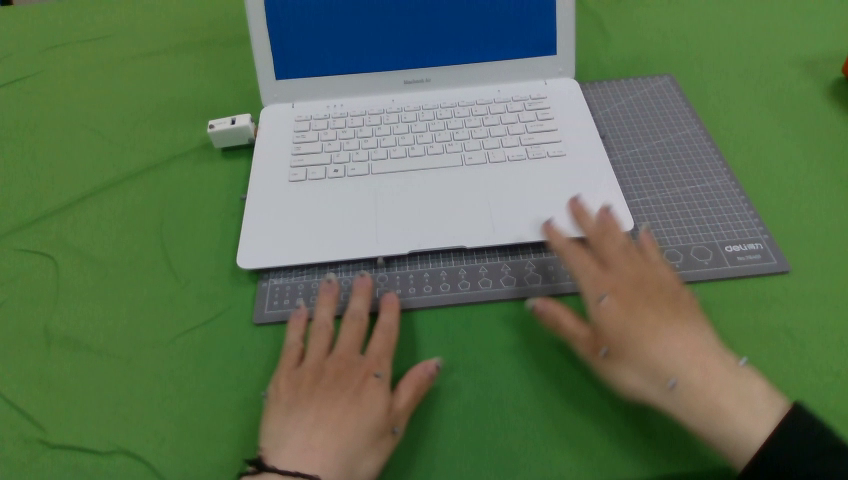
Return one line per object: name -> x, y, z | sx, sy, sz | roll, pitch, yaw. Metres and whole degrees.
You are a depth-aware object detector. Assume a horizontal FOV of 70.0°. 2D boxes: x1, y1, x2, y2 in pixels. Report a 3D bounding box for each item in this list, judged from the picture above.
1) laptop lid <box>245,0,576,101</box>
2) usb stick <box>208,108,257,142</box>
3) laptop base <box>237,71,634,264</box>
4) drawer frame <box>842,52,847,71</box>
laptop lid -> -0.015, -0.276, 0.643 | 0.357, 0.243, 0.013 | -7, 19, 0
usb stick -> -0.195, -0.123, 0.642 | 0.059, 0.027, 0.021 | -8, 48, -1
laptop base -> 0.003, -0.079, 0.605 | 0.354, 0.023, 0.233 | -6, 52, -1
drawer frame -> 0.574, -0.155, 0.588 | 0.202, 0.083, 0.211 | -10, 48, -4
